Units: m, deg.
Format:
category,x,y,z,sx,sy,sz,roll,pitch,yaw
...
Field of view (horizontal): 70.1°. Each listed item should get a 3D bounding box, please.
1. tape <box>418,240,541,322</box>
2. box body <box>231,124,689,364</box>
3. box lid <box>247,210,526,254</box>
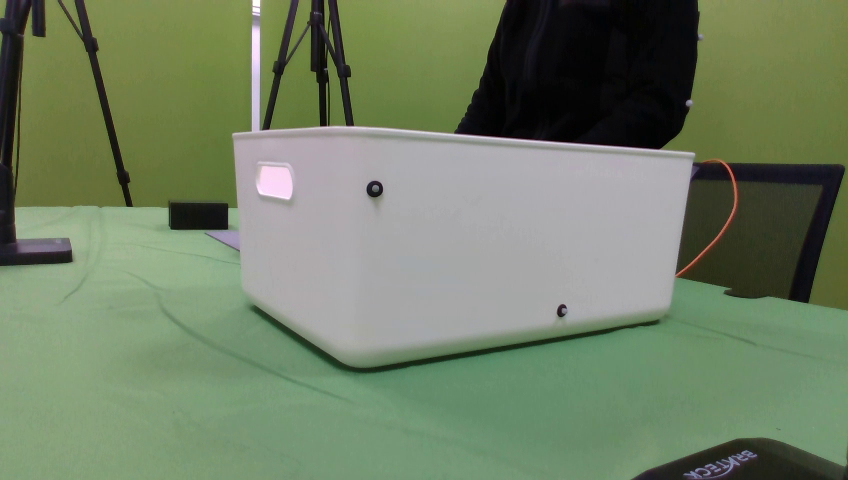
category,x,y,z,sx,sy,sz,roll,pitch,yaw
tape,0.052,0.035,0.572,0.117,0.052,0.117,1,10,0
box body,0.031,-0.013,0.563,0.366,0.160,0.253,-3,8,-33
box lid,-0.057,-0.011,0.917,0.374,0.015,0.262,6,3,-34
